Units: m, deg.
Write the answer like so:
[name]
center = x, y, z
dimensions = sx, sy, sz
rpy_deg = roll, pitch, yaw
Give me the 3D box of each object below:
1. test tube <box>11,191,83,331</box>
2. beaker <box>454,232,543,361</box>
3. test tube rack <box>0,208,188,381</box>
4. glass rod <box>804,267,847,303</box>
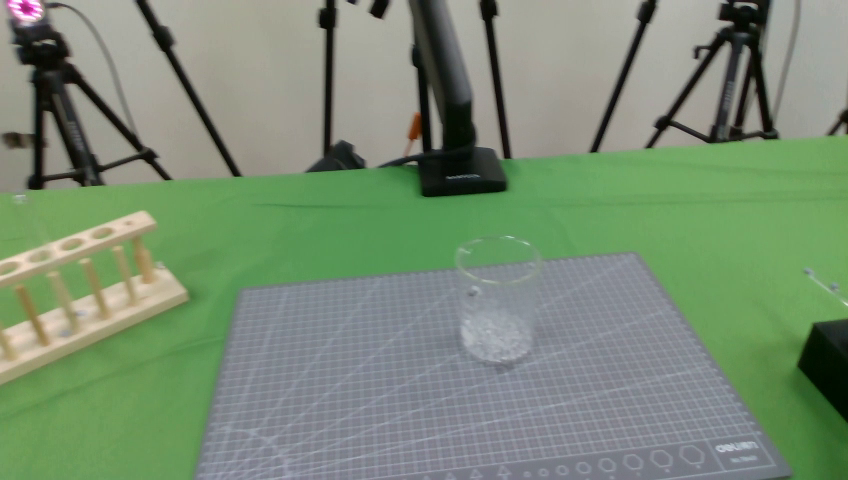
[test tube]
center = -0.343, 0.023, 0.554
dimensions = 0.017, 0.151, 0.017
rpy_deg = 0, 33, 0
[beaker]
center = 0.063, 0.053, 0.552
dimensions = 0.083, 0.101, 0.074
rpy_deg = 27, 44, 37
[test tube rack]
center = -0.367, 0.059, 0.583
dimensions = 0.242, 0.086, 0.066
rpy_deg = -27, 41, -32
[glass rod]
center = 0.387, 0.078, 0.491
dimensions = 0.008, 0.008, 0.197
rpy_deg = -11, 34, -12
